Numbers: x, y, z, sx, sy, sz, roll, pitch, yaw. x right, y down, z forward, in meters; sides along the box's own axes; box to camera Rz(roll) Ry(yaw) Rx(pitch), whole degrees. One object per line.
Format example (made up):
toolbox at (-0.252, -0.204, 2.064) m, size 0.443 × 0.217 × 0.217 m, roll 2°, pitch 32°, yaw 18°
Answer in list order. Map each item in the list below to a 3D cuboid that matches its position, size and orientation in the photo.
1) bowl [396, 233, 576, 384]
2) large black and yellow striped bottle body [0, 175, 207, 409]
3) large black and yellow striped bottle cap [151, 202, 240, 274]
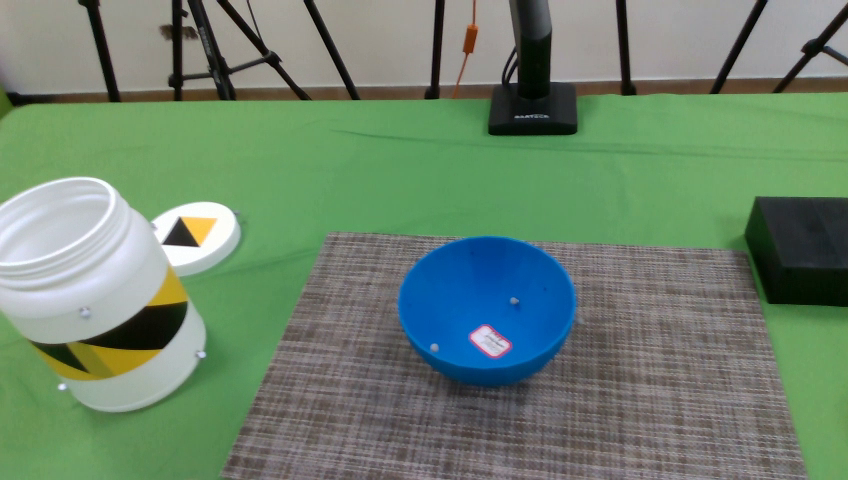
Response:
bowl at (0.055, 0.072, 0.532) m, size 0.151 × 0.077 × 0.150 m, roll -4°, pitch 43°, yaw 4°
large black and yellow striped bottle body at (-0.286, 0.048, 0.536) m, size 0.131 × 0.186 × 0.129 m, roll -4°, pitch 43°, yaw 4°
large black and yellow striped bottle cap at (-0.278, -0.005, 0.717) m, size 0.115 × 0.019 × 0.114 m, roll -3°, pitch 42°, yaw 3°
